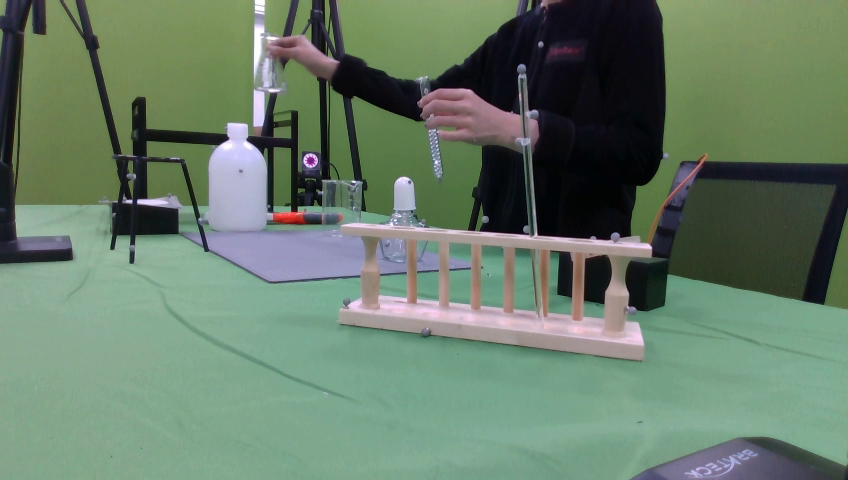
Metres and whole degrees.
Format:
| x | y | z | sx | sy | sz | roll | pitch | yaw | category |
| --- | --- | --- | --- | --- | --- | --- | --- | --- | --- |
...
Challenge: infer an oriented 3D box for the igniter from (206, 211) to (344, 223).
| x | y | z | sx | sy | sz | roll | pitch | yaw | category |
| --- | --- | --- | --- | --- | --- | --- | --- | --- | --- |
| -0.302 | -0.048 | 1.249 | 0.278 | 0.025 | 0.057 | -2 | -2 | -27 | igniter |

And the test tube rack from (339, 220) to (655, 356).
| x | y | z | sx | sy | sz | roll | pitch | yaw | category |
| --- | --- | --- | --- | --- | --- | --- | --- | --- | --- |
| 0.056 | 0.032 | 0.495 | 0.242 | 0.085 | 0.067 | 4 | 7 | 15 | test tube rack |

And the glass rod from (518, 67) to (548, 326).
| x | y | z | sx | sy | sz | roll | pitch | yaw | category |
| --- | --- | --- | --- | --- | --- | --- | --- | --- | --- |
| 0.084 | -0.029 | 0.459 | 0.008 | 0.199 | 0.008 | -7 | 11 | 2 | glass rod |

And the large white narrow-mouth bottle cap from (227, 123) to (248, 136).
| x | y | z | sx | sy | sz | roll | pitch | yaw | category |
| --- | --- | --- | --- | --- | --- | --- | --- | --- | --- |
| -0.338 | -0.200 | 1.097 | 0.038 | 0.024 | 0.037 | 2 | 8 | 0 | large white narrow-mouth bottle cap |

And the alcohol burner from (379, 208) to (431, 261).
| x | y | z | sx | sy | sz | roll | pitch | yaw | category |
| --- | --- | --- | --- | --- | --- | --- | --- | --- | --- |
| -0.027 | -0.031 | 0.838 | 0.078 | 0.119 | 0.078 | 0 | 6 | 0 | alcohol burner |

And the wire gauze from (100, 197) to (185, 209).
| x | y | z | sx | sy | sz | roll | pitch | yaw | category |
| --- | --- | --- | --- | --- | --- | --- | --- | --- | --- |
| -0.469 | -0.062 | 1.008 | 0.126 | 0.011 | 0.121 | -2 | 8 | -25 | wire gauze |

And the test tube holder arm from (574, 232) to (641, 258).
| x | y | z | sx | sy | sz | roll | pitch | yaw | category |
| --- | --- | --- | --- | --- | --- | --- | --- | --- | --- |
| 0.202 | 0.003 | 0.651 | 0.013 | 0.015 | 0.179 | -4 | 2 | 36 | test tube holder arm |

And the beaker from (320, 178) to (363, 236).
| x | y | z | sx | sy | sz | roll | pitch | yaw | category |
| --- | --- | --- | --- | --- | --- | --- | --- | --- | --- |
| -0.145 | -0.059 | 1.079 | 0.074 | 0.100 | 0.083 | -4 | 10 | -35 | beaker |

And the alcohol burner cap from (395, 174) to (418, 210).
| x | y | z | sx | sy | sz | roll | pitch | yaw | category |
| --- | --- | --- | --- | --- | --- | --- | --- | --- | --- |
| -0.026 | -0.067 | 0.834 | 0.034 | 0.048 | 0.034 | -1 | 12 | 1 | alcohol burner cap |

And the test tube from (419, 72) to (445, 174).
| x | y | z | sx | sy | sz | roll | pitch | yaw | category |
| --- | --- | --- | --- | --- | --- | --- | --- | --- | --- |
| 0.013 | -0.172 | 0.895 | 0.017 | 0.150 | 0.017 | -10 | 10 | 2 | test tube |

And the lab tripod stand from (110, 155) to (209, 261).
| x | y | z | sx | sy | sz | roll | pitch | yaw | category |
| --- | --- | --- | --- | --- | --- | --- | --- | --- | --- |
| -0.361 | -0.046 | 0.806 | 0.148 | 0.131 | 0.148 | 2 | 5 | 0 | lab tripod stand |

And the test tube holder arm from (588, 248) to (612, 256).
| x | y | z | sx | sy | sz | roll | pitch | yaw | category |
| --- | --- | --- | --- | --- | --- | --- | --- | --- | --- |
| 0.180 | 0.006 | 0.611 | 0.010 | 0.015 | 0.088 | -4 | 2 | 36 | test tube holder arm |

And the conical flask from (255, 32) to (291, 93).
| x | y | z | sx | sy | sz | roll | pitch | yaw | category |
| --- | --- | --- | --- | --- | --- | --- | --- | --- | --- |
| -0.325 | -0.382 | 1.301 | 0.075 | 0.122 | 0.075 | 4 | 17 | -1 | conical flask |

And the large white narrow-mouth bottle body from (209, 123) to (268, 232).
| x | y | z | sx | sy | sz | roll | pitch | yaw | category |
| --- | --- | --- | --- | --- | --- | --- | --- | --- | --- |
| -0.340 | -0.115 | 1.109 | 0.102 | 0.194 | 0.102 | 2 | 8 | 0 | large white narrow-mouth bottle body |
